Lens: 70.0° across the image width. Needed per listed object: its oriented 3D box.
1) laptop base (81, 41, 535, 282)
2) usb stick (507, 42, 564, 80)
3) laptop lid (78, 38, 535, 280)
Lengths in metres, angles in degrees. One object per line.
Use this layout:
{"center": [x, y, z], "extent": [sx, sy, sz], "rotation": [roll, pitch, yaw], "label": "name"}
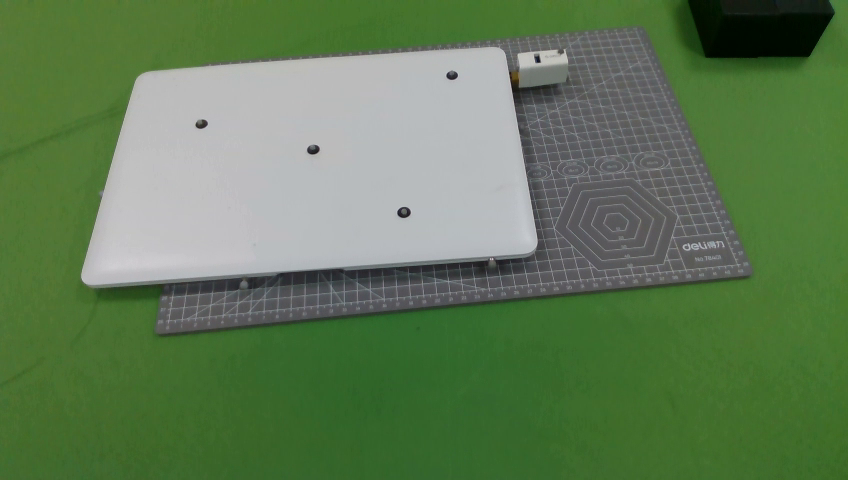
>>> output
{"center": [-0.095, -0.076, 0.527], "extent": [0.354, 0.023, 0.233], "rotation": [-4, 60, 0], "label": "laptop base"}
{"center": [0.098, -0.164, 0.559], "extent": [0.059, 0.027, 0.021], "rotation": [-6, 59, 5], "label": "usb stick"}
{"center": [-0.096, -0.081, 0.516], "extent": [0.357, 0.013, 0.239], "rotation": [-3, 59, 1], "label": "laptop lid"}
